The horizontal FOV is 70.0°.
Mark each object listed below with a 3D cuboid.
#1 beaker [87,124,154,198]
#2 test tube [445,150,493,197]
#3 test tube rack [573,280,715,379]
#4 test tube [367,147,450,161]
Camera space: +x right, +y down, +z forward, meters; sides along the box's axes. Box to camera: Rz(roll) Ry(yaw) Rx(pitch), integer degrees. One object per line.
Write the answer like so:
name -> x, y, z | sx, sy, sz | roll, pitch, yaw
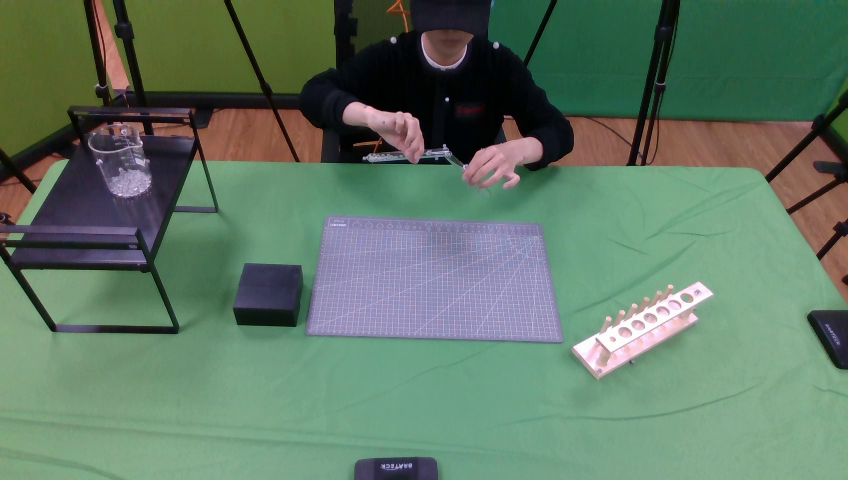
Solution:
beaker -> -0.482, -0.124, 0.978 | 0.084, 0.101, 0.073 | 9, 46, 4
test tube -> 0.087, -0.122, 1.137 | 0.017, 0.151, 0.017 | -23, 49, 29
test tube rack -> 0.378, 0.140, 1.038 | 0.242, 0.085, 0.066 | -22, 51, -23
test tube -> -0.027, -0.151, 1.067 | 0.150, 0.017, 0.017 | -6, 47, -15
